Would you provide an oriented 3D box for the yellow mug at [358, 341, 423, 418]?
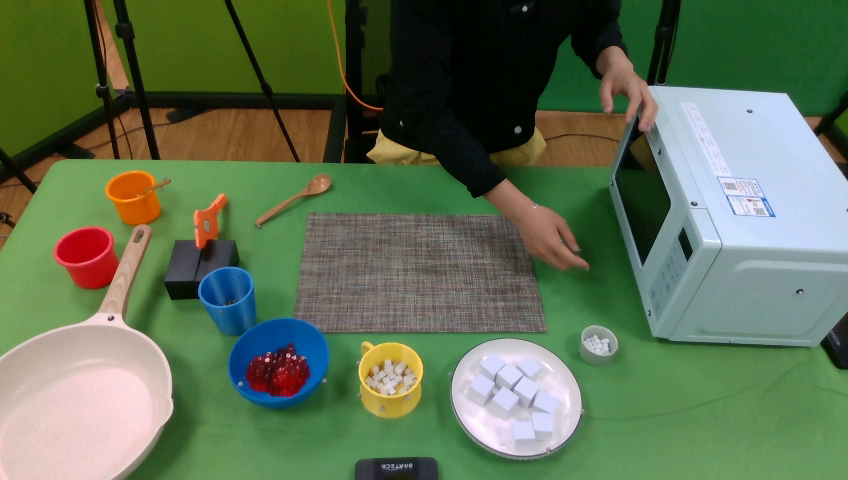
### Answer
[{"bbox_3d":[-0.063,0.210,0.961,0.100,0.064,0.130,-29,54,-28],"label":"yellow mug"}]

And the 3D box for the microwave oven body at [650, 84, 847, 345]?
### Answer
[{"bbox_3d":[0.569,-0.054,1.116,0.326,0.261,0.439,2,46,-1],"label":"microwave oven body"}]

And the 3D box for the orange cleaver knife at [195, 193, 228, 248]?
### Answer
[{"bbox_3d":[-0.406,-0.042,1.163,0.012,0.077,0.210,0,18,-3],"label":"orange cleaver knife"}]

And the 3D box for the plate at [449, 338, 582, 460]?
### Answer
[{"bbox_3d":[0.141,0.251,0.955,0.208,0.039,0.206,2,46,-2],"label":"plate"}]

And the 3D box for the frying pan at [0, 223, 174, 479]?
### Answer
[{"bbox_3d":[-0.505,0.169,0.941,0.307,0.103,0.485,5,54,-1],"label":"frying pan"}]

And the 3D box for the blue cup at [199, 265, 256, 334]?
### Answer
[{"bbox_3d":[-0.321,0.106,1.014,0.093,0.101,0.092,2,48,-2],"label":"blue cup"}]

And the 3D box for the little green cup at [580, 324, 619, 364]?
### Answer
[{"bbox_3d":[0.296,0.179,1.032,0.061,0.039,0.061,2,45,-2],"label":"little green cup"}]

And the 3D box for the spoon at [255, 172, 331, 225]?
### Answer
[{"bbox_3d":[-0.272,-0.087,1.257,0.041,0.022,0.193,43,57,17],"label":"spoon"}]

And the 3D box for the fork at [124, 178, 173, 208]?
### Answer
[{"bbox_3d":[-0.525,-0.090,1.154,0.207,0.019,0.028,-17,27,45],"label":"fork"}]

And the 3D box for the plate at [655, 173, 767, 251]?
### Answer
[{"bbox_3d":[0.556,-0.052,1.187,0.209,0.038,0.208,2,46,-2],"label":"plate"}]

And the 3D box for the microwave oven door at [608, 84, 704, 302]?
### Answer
[{"bbox_3d":[0.425,-0.096,1.138,0.039,0.245,0.353,2,46,-1],"label":"microwave oven door"}]

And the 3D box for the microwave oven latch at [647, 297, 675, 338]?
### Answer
[{"bbox_3d":[0.413,0.133,1.060,0.030,0.029,0.078,5,46,2],"label":"microwave oven latch"}]

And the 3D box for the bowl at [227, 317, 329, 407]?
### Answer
[{"bbox_3d":[-0.222,0.203,0.947,0.151,0.077,0.150,2,46,-2],"label":"bowl"}]

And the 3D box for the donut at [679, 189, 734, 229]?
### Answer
[{"bbox_3d":[0.546,-0.062,1.175,0.099,0.048,0.098,0,44,1],"label":"donut"}]
